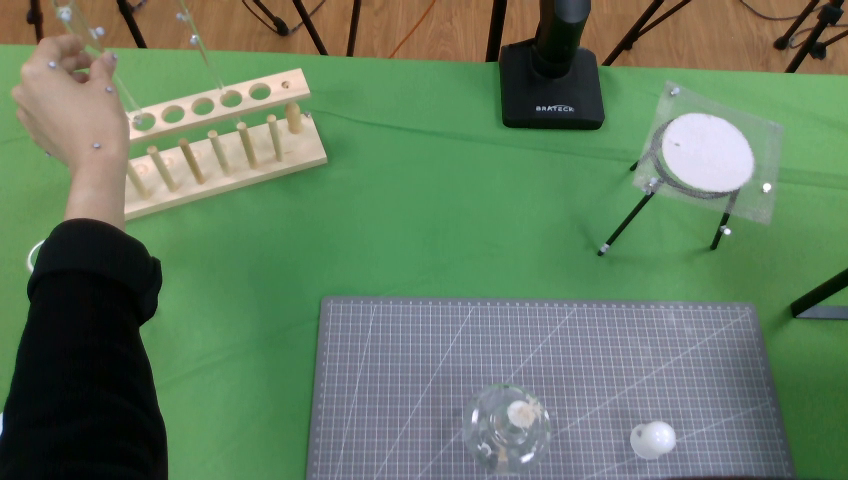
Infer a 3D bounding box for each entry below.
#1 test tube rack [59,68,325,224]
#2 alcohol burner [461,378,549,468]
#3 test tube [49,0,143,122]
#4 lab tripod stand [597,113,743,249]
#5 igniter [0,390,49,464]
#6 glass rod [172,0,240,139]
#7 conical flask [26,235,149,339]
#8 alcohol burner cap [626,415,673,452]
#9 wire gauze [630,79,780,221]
[{"bbox_3d":[-0.235,-0.099,0.640,0.243,0.086,0.066,-18,66,-11],"label":"test tube rack"},{"bbox_3d":[0.072,0.153,0.518,0.078,0.120,0.077,2,63,-4],"label":"alcohol burner"},{"bbox_3d":[-0.275,-0.149,0.518,0.017,0.151,0.017,1,66,-2],"label":"test tube"},{"bbox_3d":[0.253,-0.053,0.617,0.148,0.132,0.147,2,63,-4],"label":"lab tripod stand"},{"bbox_3d":[-0.400,0.236,0.452,0.057,0.025,0.275,26,65,20],"label":"igniter"},{"bbox_3d":[-0.208,-0.159,0.597,0.008,0.201,0.008,-2,58,3],"label":"glass rod"},{"bbox_3d":[-0.309,0.038,0.550,0.075,0.123,0.074,1,64,-2],"label":"conical flask"},{"bbox_3d":[0.209,0.175,0.554,0.034,0.048,0.033,1,64,-2],"label":"alcohol burner cap"},{"bbox_3d":[0.263,-0.084,0.558,0.121,0.011,0.124,21,66,5],"label":"wire gauze"}]
